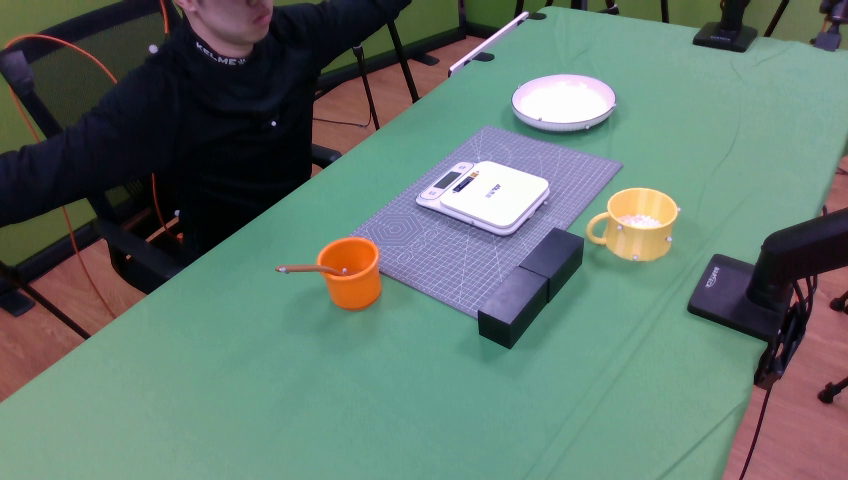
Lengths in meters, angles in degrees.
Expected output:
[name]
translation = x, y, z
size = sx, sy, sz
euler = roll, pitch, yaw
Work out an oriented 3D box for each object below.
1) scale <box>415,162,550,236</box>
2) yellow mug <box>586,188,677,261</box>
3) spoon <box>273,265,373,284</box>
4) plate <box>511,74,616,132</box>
[scale]
translation = 0.099, -0.079, 1.035
size = 0.199, 0.032, 0.149
euler = 23, 48, 31
[yellow mug]
translation = 0.311, -0.022, 0.916
size = 0.131, 0.064, 0.099
euler = -8, 40, 0
[spoon]
translation = -0.136, 0.045, 0.839
size = 0.041, 0.195, 0.021
euler = 18, 91, 33
[plate]
translation = 0.283, -0.276, 1.238
size = 0.209, 0.038, 0.208
euler = -4, 41, 4
